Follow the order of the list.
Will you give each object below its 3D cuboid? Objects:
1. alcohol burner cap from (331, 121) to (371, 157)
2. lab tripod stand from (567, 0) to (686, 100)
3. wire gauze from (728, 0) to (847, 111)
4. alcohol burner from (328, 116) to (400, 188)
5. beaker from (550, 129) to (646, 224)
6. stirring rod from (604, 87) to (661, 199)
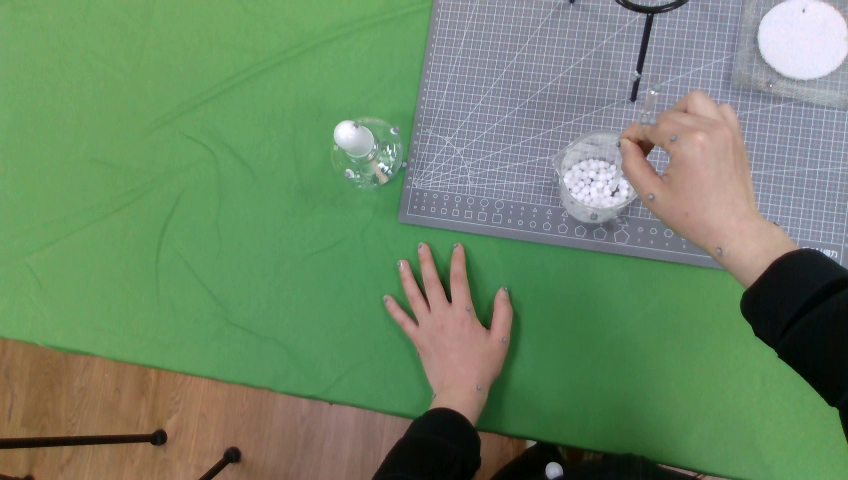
[{"bbox_3d":[-0.073,-0.100,0.586,0.034,0.048,0.034,0,87,10],"label":"alcohol burner cap"},{"bbox_3d":[0.204,-0.225,0.574,0.148,0.132,0.148,-1,85,8],"label":"lab tripod stand"},{"bbox_3d":[0.376,-0.199,0.606,0.125,0.011,0.121,13,86,8],"label":"wire gauze"},{"bbox_3d":[-0.066,-0.095,0.621,0.078,0.119,0.077,-1,82,9],"label":"alcohol burner"},{"bbox_3d":[0.162,-0.057,0.582,0.083,0.101,0.074,15,86,12],"label":"beaker"},{"bbox_3d":[0.163,-0.071,0.485,0.014,0.177,0.006,-4,70,6],"label":"stirring rod"}]
